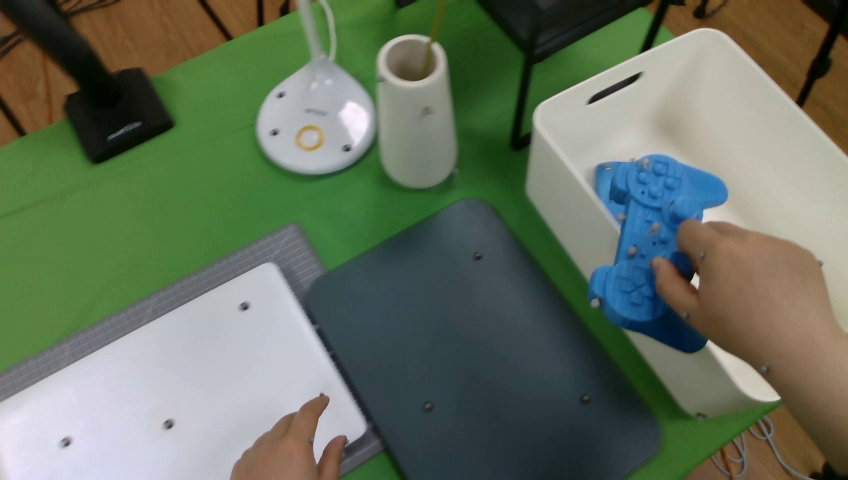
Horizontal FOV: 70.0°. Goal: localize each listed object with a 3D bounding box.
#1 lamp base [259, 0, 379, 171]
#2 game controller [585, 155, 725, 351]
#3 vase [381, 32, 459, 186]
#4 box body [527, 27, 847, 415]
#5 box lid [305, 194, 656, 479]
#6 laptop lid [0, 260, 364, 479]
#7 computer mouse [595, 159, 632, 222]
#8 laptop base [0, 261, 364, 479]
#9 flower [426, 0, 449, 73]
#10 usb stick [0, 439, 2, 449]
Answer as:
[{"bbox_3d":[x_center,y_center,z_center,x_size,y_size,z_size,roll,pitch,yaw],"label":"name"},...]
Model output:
[{"bbox_3d":[-0.141,-0.206,0.749,0.160,0.181,0.177,2,63,2],"label":"lamp base"},{"bbox_3d":[0.188,0.002,0.484,0.097,0.052,0.154,14,70,10],"label":"game controller"},{"bbox_3d":[-0.008,-0.147,0.710,0.098,0.201,0.097,-1,64,2],"label":"vase"},{"bbox_3d":[0.308,-0.021,0.671,0.254,0.161,0.361,-27,68,-11],"label":"box body"},{"bbox_3d":[0.054,0.133,0.685,0.263,0.015,0.368,-29,69,-13],"label":"box lid"},{"bbox_3d":[-0.269,0.194,0.644,0.357,0.013,0.240,-28,71,-11],"label":"laptop lid"},{"bbox_3d":[0.245,-0.053,0.748,0.063,0.041,0.116,5,62,6],"label":"computer mouse"},{"bbox_3d":[-0.271,0.197,0.655,0.354,0.023,0.234,-29,72,-12],"label":"laptop base"},{"bbox_3d":[0.008,-0.191,0.640,0.038,0.364,0.043,-14,56,-24],"label":"flower"},{"bbox_3d":[-0.474,0.224,0.630,0.059,0.027,0.021,-25,67,-17],"label":"usb stick"}]
